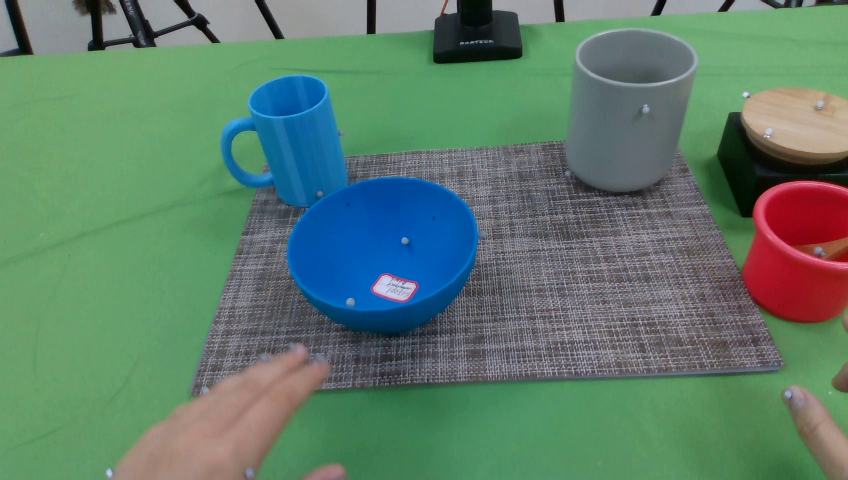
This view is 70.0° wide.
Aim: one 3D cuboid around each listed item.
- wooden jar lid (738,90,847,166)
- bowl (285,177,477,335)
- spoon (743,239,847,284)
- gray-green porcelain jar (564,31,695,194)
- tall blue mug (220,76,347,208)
[{"bbox_3d":[0.347,-0.103,0.559,0.108,0.021,0.107,-4,44,4],"label":"wooden jar lid"},{"bbox_3d":[-0.030,0.025,0.496,0.151,0.077,0.150,-3,44,3],"label":"bowl"},{"bbox_3d":[0.332,-0.001,0.440,0.022,0.193,0.041,48,50,-12],"label":"spoon"},{"bbox_3d":[0.190,-0.117,0.580,0.106,0.128,0.105,-3,45,4],"label":"gray-green porcelain jar"},{"bbox_3d":[-0.136,-0.089,0.601,0.107,0.109,0.077,-36,52,-27],"label":"tall blue mug"}]
